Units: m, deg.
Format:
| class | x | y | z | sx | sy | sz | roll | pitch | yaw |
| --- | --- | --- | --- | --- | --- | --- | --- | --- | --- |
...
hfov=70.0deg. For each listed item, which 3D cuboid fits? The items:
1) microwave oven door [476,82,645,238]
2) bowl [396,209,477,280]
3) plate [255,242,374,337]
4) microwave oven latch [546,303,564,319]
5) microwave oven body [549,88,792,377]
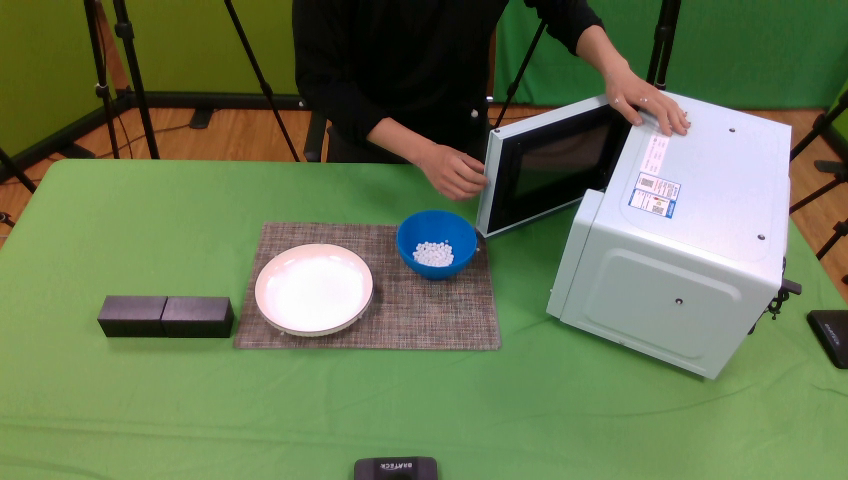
| class | x | y | z | sx | sy | sz | roll | pitch | yaw |
| --- | --- | --- | --- | --- | --- | --- | --- | --- | --- |
| microwave oven door | 0.270 | -0.158 | 1.192 | 0.356 | 0.245 | 0.039 | -22 | 50 | -23 |
| bowl | 0.021 | 0.021 | 1.134 | 0.151 | 0.077 | 0.150 | 2 | 46 | -2 |
| plate | -0.192 | 0.090 | 1.079 | 0.208 | 0.039 | 0.206 | 2 | 46 | -2 |
| microwave oven latch | 0.242 | 0.102 | 1.081 | 0.030 | 0.029 | 0.079 | 22 | 48 | 17 |
| microwave oven body | 0.456 | -0.028 | 1.088 | 0.325 | 0.261 | 0.440 | 20 | 47 | 16 |
